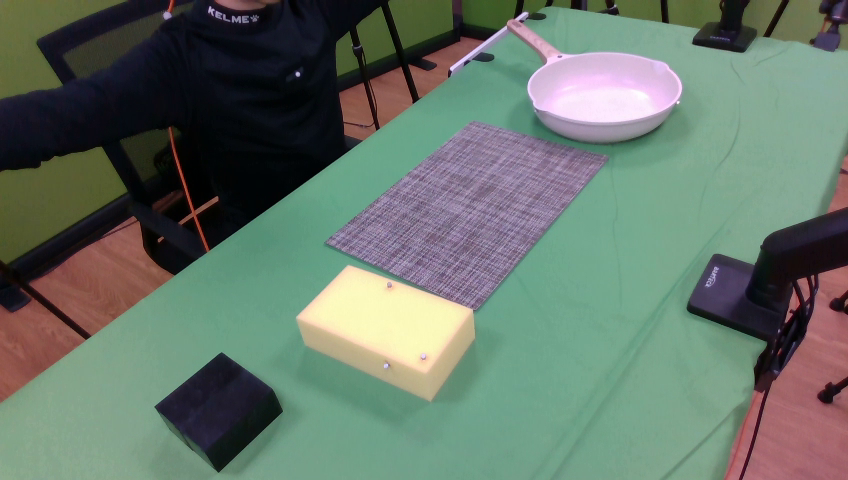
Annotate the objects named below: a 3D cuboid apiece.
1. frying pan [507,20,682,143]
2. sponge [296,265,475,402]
[{"bbox_3d":[0.312,-0.352,1.271,0.308,0.103,0.484,-20,51,-16],"label":"frying pan"},{"bbox_3d":[-0.050,0.118,0.811,0.205,0.061,0.118,17,47,26],"label":"sponge"}]
